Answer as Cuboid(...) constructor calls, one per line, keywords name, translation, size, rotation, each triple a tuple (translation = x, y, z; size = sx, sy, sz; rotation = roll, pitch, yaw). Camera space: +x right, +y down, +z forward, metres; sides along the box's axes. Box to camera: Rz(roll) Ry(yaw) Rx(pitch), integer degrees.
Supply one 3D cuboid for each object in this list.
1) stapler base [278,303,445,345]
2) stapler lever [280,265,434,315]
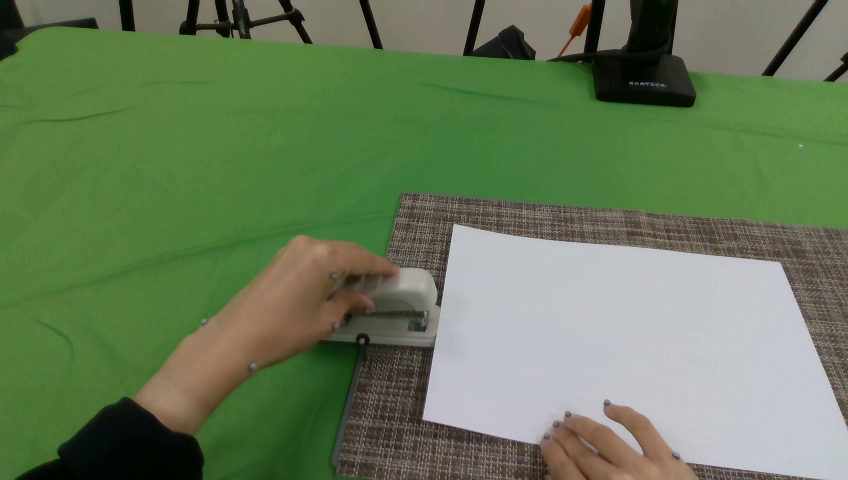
Cuboid(name="stapler base", translation=(-0.049, 0.057, 0.479), size=(0.130, 0.024, 0.041), rotation=(2, 41, 4))
Cuboid(name="stapler lever", translation=(-0.051, 0.038, 0.461), size=(0.118, 0.040, 0.026), rotation=(2, 41, 5))
